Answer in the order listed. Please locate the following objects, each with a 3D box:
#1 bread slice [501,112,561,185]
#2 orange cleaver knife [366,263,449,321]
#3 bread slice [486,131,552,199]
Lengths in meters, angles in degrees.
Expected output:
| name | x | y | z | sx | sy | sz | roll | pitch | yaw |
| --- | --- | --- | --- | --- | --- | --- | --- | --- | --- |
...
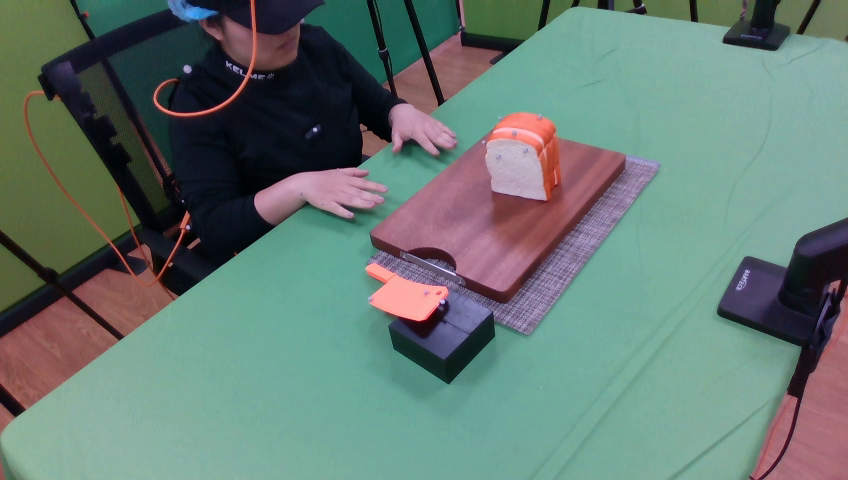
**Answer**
| name | x | y | z | sx | sy | sz | roll | pitch | yaw |
| --- | --- | --- | --- | --- | --- | --- | --- | --- | --- |
| bread slice | 0.176 | -0.150 | 1.002 | 0.106 | 0.135 | 0.018 | 16 | 52 | 23 |
| orange cleaver knife | -0.042 | 0.072 | 0.870 | 0.077 | 0.012 | 0.209 | -37 | 28 | -23 |
| bread slice | 0.149 | -0.119 | 0.973 | 0.104 | 0.132 | 0.019 | 11 | 54 | 27 |
